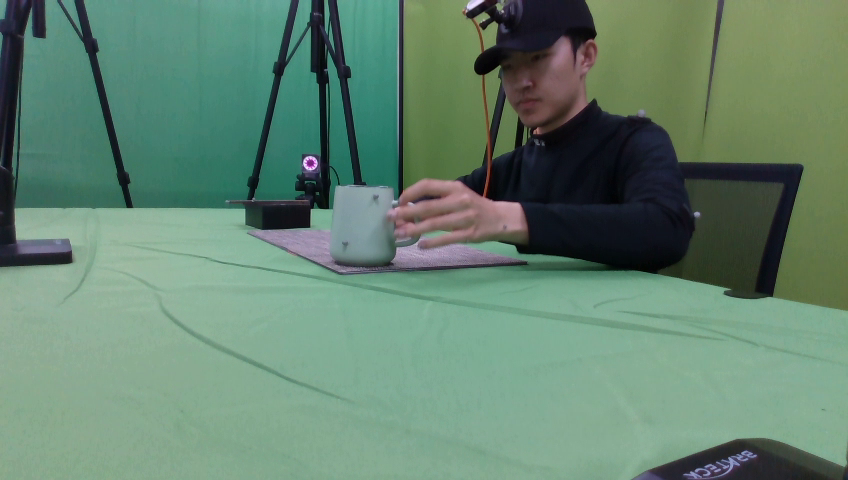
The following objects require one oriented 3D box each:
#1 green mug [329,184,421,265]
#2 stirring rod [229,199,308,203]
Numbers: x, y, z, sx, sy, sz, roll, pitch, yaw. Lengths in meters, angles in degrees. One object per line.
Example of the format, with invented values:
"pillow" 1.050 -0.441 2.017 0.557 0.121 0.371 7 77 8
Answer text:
"green mug" -0.066 -0.022 0.817 0.125 0.105 0.092 3 7 8
"stirring rod" -0.317 -0.081 1.246 0.177 0.006 0.014 -5 8 -42
